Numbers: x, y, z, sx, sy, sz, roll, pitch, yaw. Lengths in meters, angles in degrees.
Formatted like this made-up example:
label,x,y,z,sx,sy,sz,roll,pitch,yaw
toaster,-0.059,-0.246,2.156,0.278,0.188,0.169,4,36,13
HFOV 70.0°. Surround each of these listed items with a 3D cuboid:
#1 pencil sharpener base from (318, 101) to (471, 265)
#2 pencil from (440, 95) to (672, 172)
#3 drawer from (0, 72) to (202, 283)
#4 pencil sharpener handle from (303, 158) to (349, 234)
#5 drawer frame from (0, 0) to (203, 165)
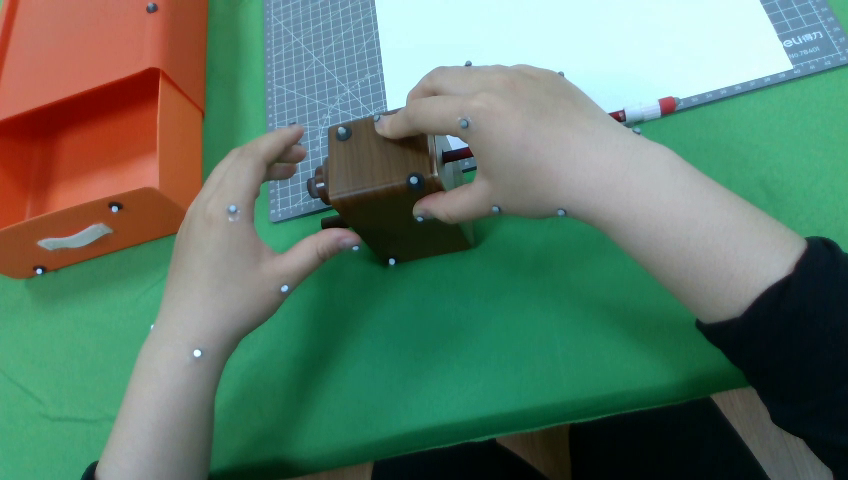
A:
label,x,y,z,sx,sy,sz,roll,pitch,yaw
pencil sharpener base,-0.017,-0.033,0.415,0.076,0.108,0.061,-13,63,13
pencil,0.053,-0.057,0.373,0.194,0.012,0.012,-15,63,10
drawer,-0.303,-0.086,0.545,0.194,0.074,0.210,-16,62,10
pencil sharpener handle,-0.069,-0.025,0.414,0.030,0.068,0.035,-13,57,13
drawer frame,-0.323,-0.190,0.595,0.201,0.083,0.211,-16,62,11
